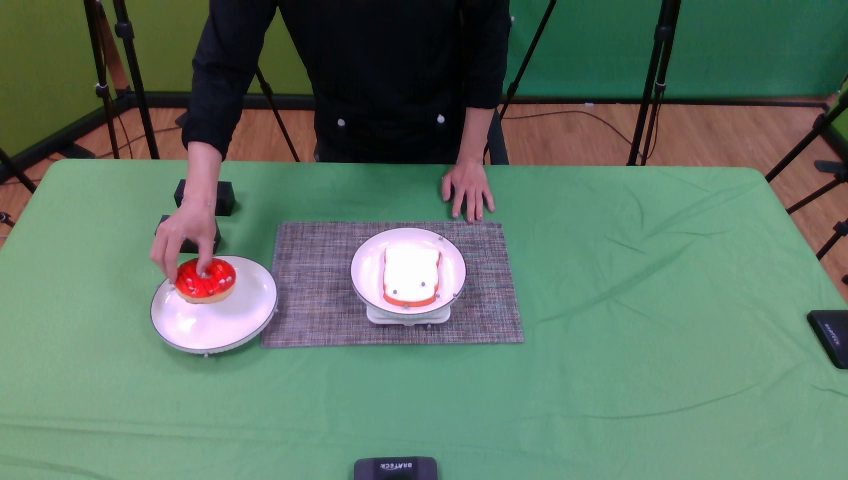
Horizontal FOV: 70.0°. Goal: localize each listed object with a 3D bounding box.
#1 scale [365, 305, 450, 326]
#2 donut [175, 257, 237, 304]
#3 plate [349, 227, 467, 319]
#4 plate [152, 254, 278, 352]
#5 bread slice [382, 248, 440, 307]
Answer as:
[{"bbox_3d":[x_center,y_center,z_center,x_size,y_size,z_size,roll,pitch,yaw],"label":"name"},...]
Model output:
[{"bbox_3d":[-0.032,0.071,1.113,0.149,0.032,0.199,0,46,-4],"label":"scale"},{"bbox_3d":[-0.360,0.065,1.003,0.099,0.048,0.098,8,37,-6],"label":"donut"},{"bbox_3d":[-0.029,0.061,1.077,0.209,0.038,0.208,2,46,-2],"label":"plate"},{"bbox_3d":[-0.357,0.111,1.052,0.208,0.039,0.206,2,46,-2],"label":"plate"},{"bbox_3d":[-0.023,0.064,1.077,0.105,0.019,0.130,2,45,0],"label":"bread slice"}]
